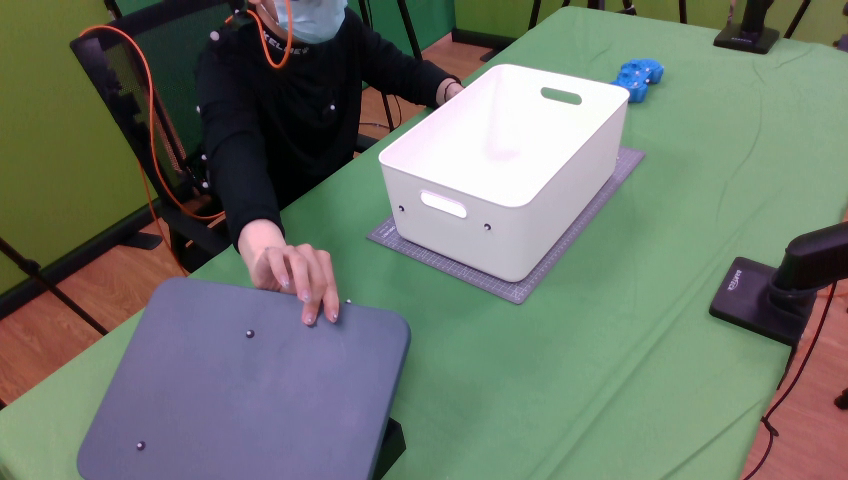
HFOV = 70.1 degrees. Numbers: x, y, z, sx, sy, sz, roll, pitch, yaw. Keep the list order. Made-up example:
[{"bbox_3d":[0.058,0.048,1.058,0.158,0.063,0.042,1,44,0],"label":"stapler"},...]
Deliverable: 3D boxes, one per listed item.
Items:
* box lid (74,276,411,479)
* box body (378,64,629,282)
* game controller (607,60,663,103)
[{"bbox_3d":[-0.209,0.181,0.694,0.369,0.015,0.262,6,64,20],"label":"box lid"},{"bbox_3d":[0.137,-0.121,0.978,0.252,0.161,0.365,22,48,30],"label":"box body"},{"bbox_3d":[0.442,-0.345,1.288,0.096,0.052,0.155,25,50,27],"label":"game controller"}]
